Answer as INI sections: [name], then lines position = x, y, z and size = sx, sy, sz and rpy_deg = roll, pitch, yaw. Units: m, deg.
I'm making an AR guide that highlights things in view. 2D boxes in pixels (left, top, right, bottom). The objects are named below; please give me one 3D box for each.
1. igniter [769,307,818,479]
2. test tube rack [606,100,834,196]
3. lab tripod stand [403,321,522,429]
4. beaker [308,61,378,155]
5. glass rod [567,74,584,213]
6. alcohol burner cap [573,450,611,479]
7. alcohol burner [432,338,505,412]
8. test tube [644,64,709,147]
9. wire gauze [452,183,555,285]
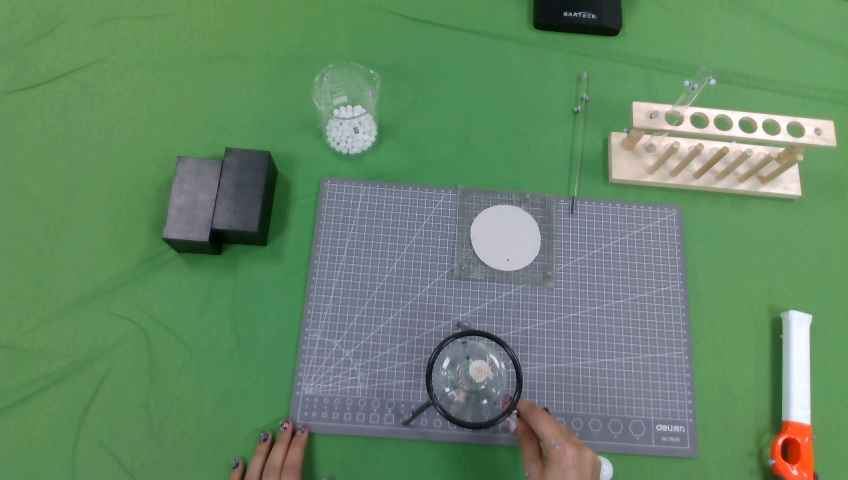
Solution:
[igniter]
position = 0.411, 0.210, 0.674
size = 0.057, 0.025, 0.275
rpy_deg = 14, 72, -9
[test tube rack]
position = 0.357, -0.110, 0.743
size = 0.242, 0.085, 0.066
rpy_deg = 5, 72, -2
[lab tripod stand]
position = 0.041, 0.142, 0.614
size = 0.148, 0.132, 0.147
rpy_deg = 1, 71, -1
[beaker]
position = -0.091, -0.154, 0.722
size = 0.084, 0.101, 0.073
rpy_deg = -33, 77, -14
[glass rod]
position = 0.195, -0.127, 0.777
size = 0.008, 0.008, 0.198
rpy_deg = 9, 73, -1
[alcohol burner cap]
position = 0.181, 0.240, 0.643
size = 0.034, 0.048, 0.033
rpy_deg = 1, 71, -2
[alcohol burner]
position = 0.049, 0.137, 0.627
size = 0.078, 0.119, 0.077
rpy_deg = 2, 70, -5
[test tube]
position = 0.287, -0.150, 0.699
size = 0.017, 0.151, 0.017
rpy_deg = 1, 68, -2
[wire gauze]
position = 0.096, -0.010, 0.733
size = 0.125, 0.011, 0.120
rpy_deg = 6, 71, -1
